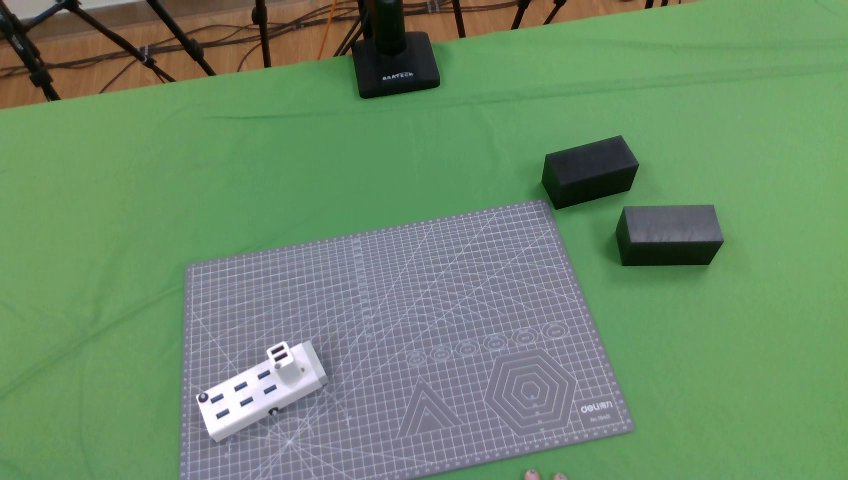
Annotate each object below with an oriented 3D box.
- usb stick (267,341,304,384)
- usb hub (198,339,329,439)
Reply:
[{"bbox_3d":[-0.138,0.127,0.612,0.021,0.060,0.027,-29,57,-14],"label":"usb stick"},{"bbox_3d":[-0.166,0.153,0.631,0.125,0.025,0.049,-25,58,-14],"label":"usb hub"}]
